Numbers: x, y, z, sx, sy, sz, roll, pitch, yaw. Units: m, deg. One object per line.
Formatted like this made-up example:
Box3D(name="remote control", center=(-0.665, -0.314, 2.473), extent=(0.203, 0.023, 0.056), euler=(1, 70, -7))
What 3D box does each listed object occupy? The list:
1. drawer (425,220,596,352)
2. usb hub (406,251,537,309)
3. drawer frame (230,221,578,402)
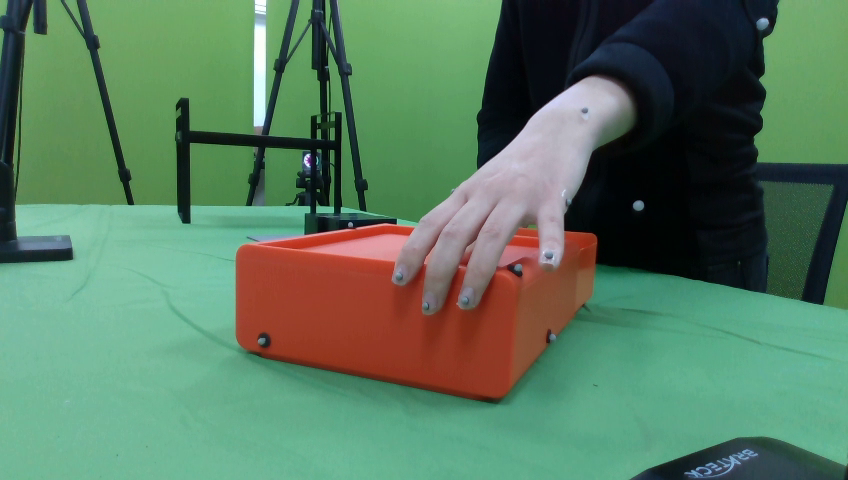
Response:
Box3D(name="drawer", center=(0.045, 0.033, 0.570), extent=(0.194, 0.073, 0.212), euler=(7, 10, 24))
Box3D(name="usb hub", center=(0.046, 0.039, 0.602), extent=(0.124, 0.025, 0.050), euler=(17, 4, 28))
Box3D(name="drawer frame", center=(0.000, 0.038, 0.474), extent=(0.201, 0.082, 0.214), euler=(6, 9, 22))
